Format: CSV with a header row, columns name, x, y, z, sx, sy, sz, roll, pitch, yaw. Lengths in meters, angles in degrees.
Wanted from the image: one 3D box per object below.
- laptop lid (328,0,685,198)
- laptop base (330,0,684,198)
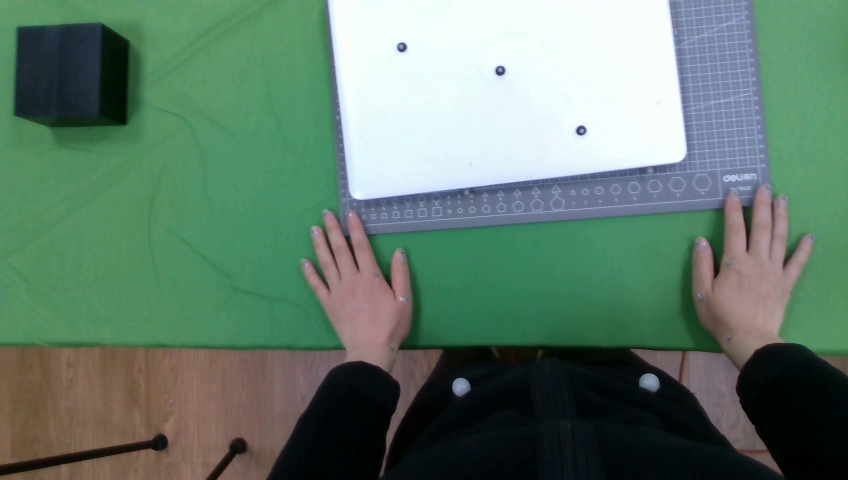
name,x,y,z,sx,sy,sz,roll,pitch,yaw
laptop lid,0.081,-0.177,0.633,0.356,0.013,0.241,-5,89,6
laptop base,0.082,-0.179,0.645,0.354,0.023,0.235,-6,90,6
